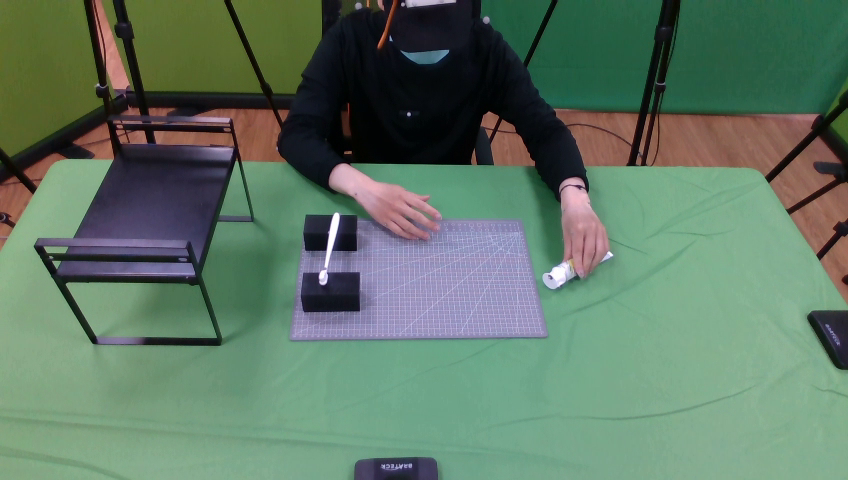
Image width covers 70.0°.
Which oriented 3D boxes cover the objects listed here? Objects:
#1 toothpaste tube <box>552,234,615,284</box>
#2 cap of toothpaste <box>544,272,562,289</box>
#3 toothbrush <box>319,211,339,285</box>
[{"bbox_3d":[0.302,0.042,1.167,0.165,0.034,0.055,-29,75,-30],"label":"toothpaste tube"},{"bbox_3d":[0.240,0.073,1.126,0.011,0.037,0.037,-35,58,-30],"label":"cap of toothpaste"},{"bbox_3d":[-0.172,0.009,1.103,0.014,0.017,0.180,-8,44,10],"label":"toothbrush"}]
